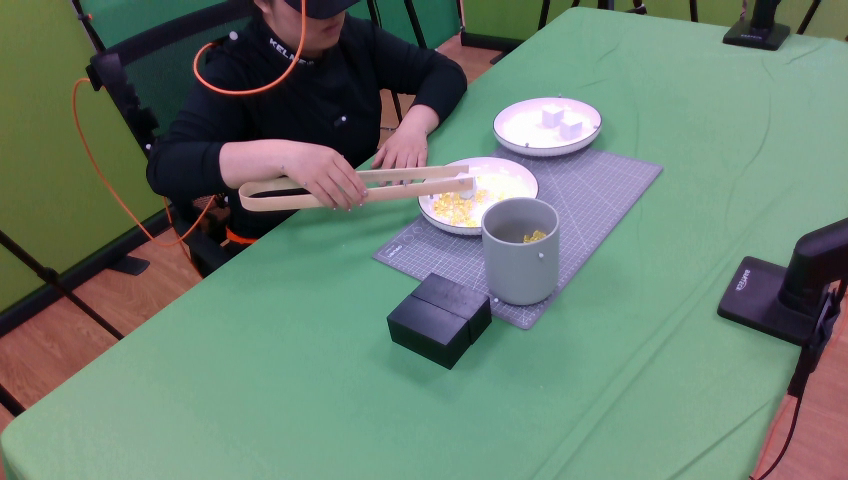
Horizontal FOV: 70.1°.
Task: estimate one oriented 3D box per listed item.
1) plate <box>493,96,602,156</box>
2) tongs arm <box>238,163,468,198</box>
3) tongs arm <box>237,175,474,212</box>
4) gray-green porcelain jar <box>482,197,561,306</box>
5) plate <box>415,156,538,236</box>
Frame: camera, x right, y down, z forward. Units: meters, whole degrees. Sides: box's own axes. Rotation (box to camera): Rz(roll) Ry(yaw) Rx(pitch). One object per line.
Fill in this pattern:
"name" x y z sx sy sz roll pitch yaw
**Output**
"plate" 0.238 -0.218 1.179 0.209 0.038 0.208 -4 39 4
"tongs arm" -0.114 -0.101 1.023 0.389 0.028 0.028 -7 44 -7
"tongs arm" -0.110 -0.083 1.001 0.386 0.026 0.050 -8 40 -10
"gray-green porcelain jar" 0.138 0.020 0.846 0.106 0.127 0.105 -5 40 5
"plate" 0.090 -0.072 1.034 0.207 0.039 0.206 -5 40 5
